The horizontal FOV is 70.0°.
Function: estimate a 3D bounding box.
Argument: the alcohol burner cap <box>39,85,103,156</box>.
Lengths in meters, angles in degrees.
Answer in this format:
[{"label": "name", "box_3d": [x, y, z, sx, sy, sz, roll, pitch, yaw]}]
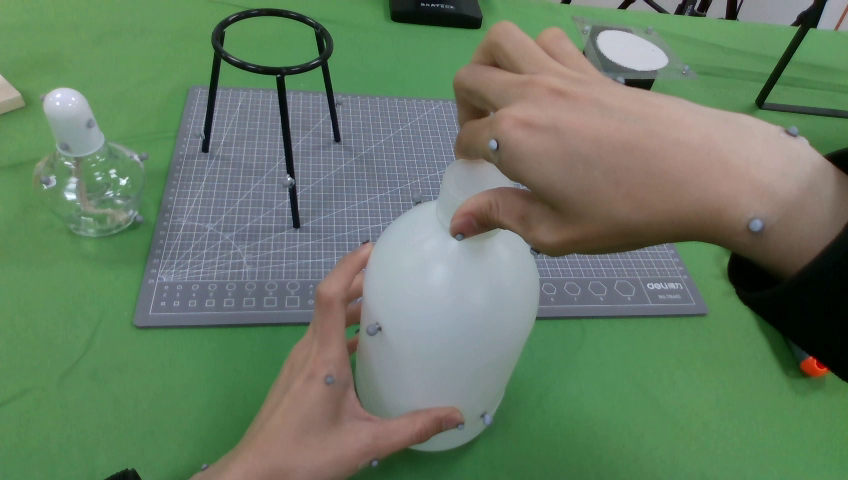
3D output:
[{"label": "alcohol burner cap", "box_3d": [-0.249, -0.085, 0.424, 0.034, 0.048, 0.033, 5, 53, -6]}]

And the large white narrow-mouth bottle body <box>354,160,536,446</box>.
[{"label": "large white narrow-mouth bottle body", "box_3d": [0.012, 0.036, 0.356, 0.102, 0.196, 0.101, 5, 47, -5]}]

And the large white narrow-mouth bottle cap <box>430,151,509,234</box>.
[{"label": "large white narrow-mouth bottle cap", "box_3d": [0.022, -0.023, 0.294, 0.038, 0.024, 0.037, 5, 47, -5]}]

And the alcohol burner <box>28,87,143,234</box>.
[{"label": "alcohol burner", "box_3d": [-0.254, -0.062, 0.451, 0.078, 0.120, 0.077, 7, 45, -6]}]

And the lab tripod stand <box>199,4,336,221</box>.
[{"label": "lab tripod stand", "box_3d": [-0.123, -0.110, 0.503, 0.149, 0.132, 0.147, 7, 47, -7]}]

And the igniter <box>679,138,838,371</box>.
[{"label": "igniter", "box_3d": [0.301, 0.000, 0.561, 0.057, 0.025, 0.273, 9, 46, -17]}]

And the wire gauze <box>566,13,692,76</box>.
[{"label": "wire gauze", "box_3d": [0.234, -0.226, 0.704, 0.122, 0.011, 0.123, 2, 48, -11]}]

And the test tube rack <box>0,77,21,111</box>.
[{"label": "test tube rack", "box_3d": [-0.474, -0.116, 0.477, 0.066, 0.086, 0.242, 38, 52, 22]}]
